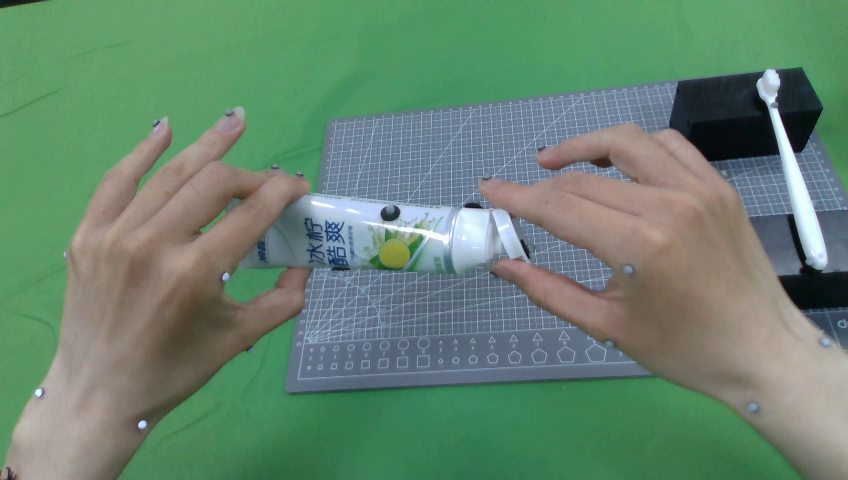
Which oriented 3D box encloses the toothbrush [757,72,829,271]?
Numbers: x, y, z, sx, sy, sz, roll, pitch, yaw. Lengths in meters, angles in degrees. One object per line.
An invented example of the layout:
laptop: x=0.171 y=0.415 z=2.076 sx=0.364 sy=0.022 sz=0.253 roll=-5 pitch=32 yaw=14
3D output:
toothbrush: x=0.268 y=-0.057 z=0.441 sx=0.014 sy=0.017 sz=0.180 roll=7 pitch=57 yaw=1

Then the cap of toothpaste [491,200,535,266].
cap of toothpaste: x=0.045 y=-0.002 z=0.302 sx=0.011 sy=0.038 sz=0.037 roll=-27 pitch=52 yaw=14

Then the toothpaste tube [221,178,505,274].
toothpaste tube: x=-0.036 y=-0.006 z=0.329 sx=0.164 sy=0.055 sz=0.034 roll=3 pitch=18 yaw=18
